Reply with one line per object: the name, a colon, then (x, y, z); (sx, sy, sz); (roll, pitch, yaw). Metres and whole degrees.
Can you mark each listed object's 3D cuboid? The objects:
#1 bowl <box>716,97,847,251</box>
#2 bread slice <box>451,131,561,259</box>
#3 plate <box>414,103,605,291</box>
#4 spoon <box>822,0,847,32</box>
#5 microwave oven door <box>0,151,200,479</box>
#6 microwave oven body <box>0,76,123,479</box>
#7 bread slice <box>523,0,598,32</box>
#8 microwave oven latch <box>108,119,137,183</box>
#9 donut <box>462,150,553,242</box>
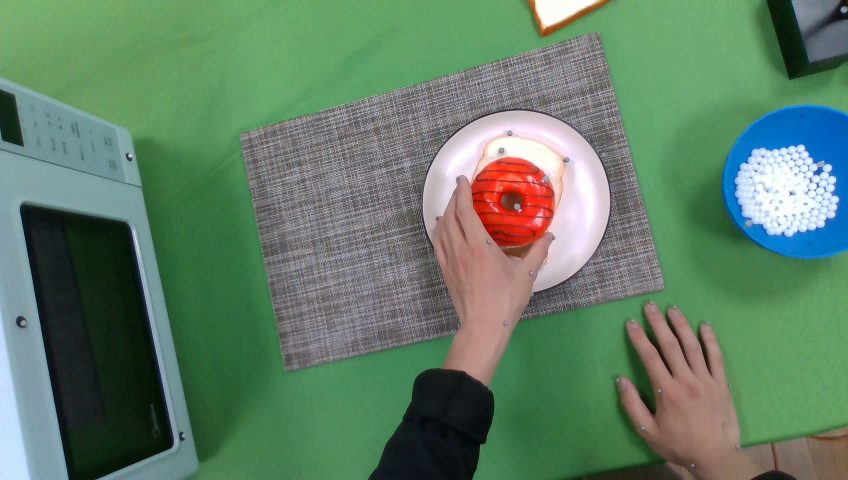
bowl: (0.368, -0.060, 0.617); (0.151, 0.077, 0.151); (-1, 86, 10)
bread slice: (0.095, -0.054, 0.680); (0.107, 0.018, 0.134); (11, 89, 10)
plate: (0.094, -0.046, 0.679); (0.207, 0.039, 0.207); (-1, 86, 9)
spoon: (0.401, -0.244, 0.564); (0.021, 0.195, 0.041); (-12, 82, 23)
microwave oven door: (-0.347, 0.096, 0.629); (0.039, 0.244, 0.354); (-16, 84, 9)
microwave oven body: (-0.496, 0.095, 0.659); (0.326, 0.261, 0.440); (-16, 84, 8)
bread slice: (0.148, -0.322, 0.702); (0.105, 0.019, 0.131); (-28, 83, 6)
microwave oven latch: (-0.382, -0.107, 0.751); (0.030, 0.029, 0.079); (-15, 85, 8)
donut: (0.090, -0.047, 0.652); (0.099, 0.048, 0.099); (-1, 87, 11)
